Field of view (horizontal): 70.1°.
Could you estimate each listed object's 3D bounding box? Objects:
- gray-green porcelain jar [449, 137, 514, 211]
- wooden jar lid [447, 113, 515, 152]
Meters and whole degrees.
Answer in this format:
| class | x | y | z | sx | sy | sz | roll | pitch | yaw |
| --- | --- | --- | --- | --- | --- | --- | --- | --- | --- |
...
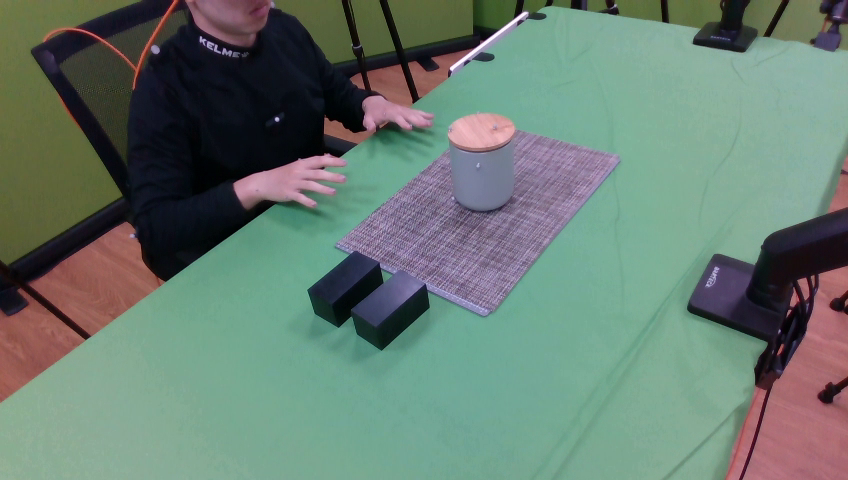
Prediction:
| class | x | y | z | sx | sy | sz | roll | pitch | yaw |
| --- | --- | --- | --- | --- | --- | --- | --- | --- | --- |
| gray-green porcelain jar | 0.098 | -0.120 | 1.009 | 0.106 | 0.127 | 0.105 | -4 | 41 | 4 |
| wooden jar lid | 0.091 | -0.169 | 0.967 | 0.108 | 0.021 | 0.108 | -5 | 39 | 4 |
